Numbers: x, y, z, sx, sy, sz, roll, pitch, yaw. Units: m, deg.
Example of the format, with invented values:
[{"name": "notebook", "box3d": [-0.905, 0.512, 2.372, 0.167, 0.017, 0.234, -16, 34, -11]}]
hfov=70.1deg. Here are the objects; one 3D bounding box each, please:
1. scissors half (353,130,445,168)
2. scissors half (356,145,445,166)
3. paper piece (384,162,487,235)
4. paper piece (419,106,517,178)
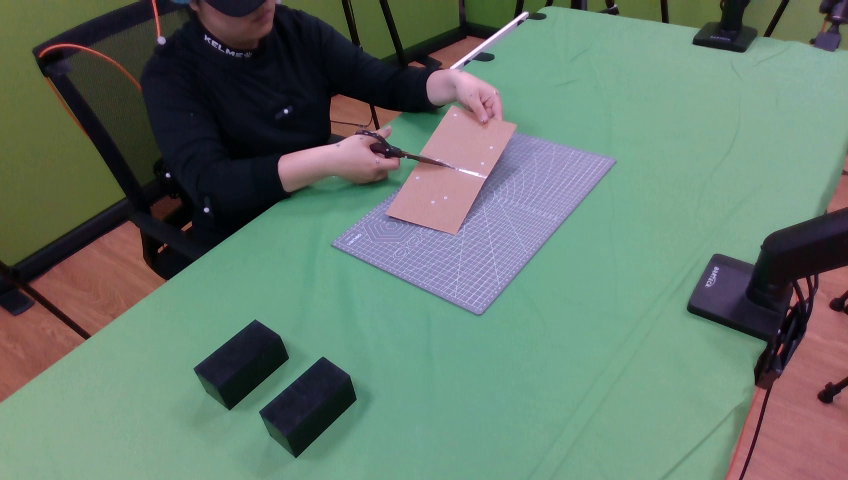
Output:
[{"name": "scissors half", "box3d": [-0.044, -0.160, 1.084, 0.175, 0.040, 0.013, 21, 65, -1]}, {"name": "scissors half", "box3d": [-0.044, -0.149, 1.102, 0.174, 0.040, 0.013, 10, 58, 20]}, {"name": "paper piece", "box3d": [0.021, -0.076, 1.036, 0.135, 0.004, 0.135, 17, 58, 21]}, {"name": "paper piece", "box3d": [0.081, -0.181, 1.098, 0.135, 0.009, 0.138, 25, 59, 13]}]
